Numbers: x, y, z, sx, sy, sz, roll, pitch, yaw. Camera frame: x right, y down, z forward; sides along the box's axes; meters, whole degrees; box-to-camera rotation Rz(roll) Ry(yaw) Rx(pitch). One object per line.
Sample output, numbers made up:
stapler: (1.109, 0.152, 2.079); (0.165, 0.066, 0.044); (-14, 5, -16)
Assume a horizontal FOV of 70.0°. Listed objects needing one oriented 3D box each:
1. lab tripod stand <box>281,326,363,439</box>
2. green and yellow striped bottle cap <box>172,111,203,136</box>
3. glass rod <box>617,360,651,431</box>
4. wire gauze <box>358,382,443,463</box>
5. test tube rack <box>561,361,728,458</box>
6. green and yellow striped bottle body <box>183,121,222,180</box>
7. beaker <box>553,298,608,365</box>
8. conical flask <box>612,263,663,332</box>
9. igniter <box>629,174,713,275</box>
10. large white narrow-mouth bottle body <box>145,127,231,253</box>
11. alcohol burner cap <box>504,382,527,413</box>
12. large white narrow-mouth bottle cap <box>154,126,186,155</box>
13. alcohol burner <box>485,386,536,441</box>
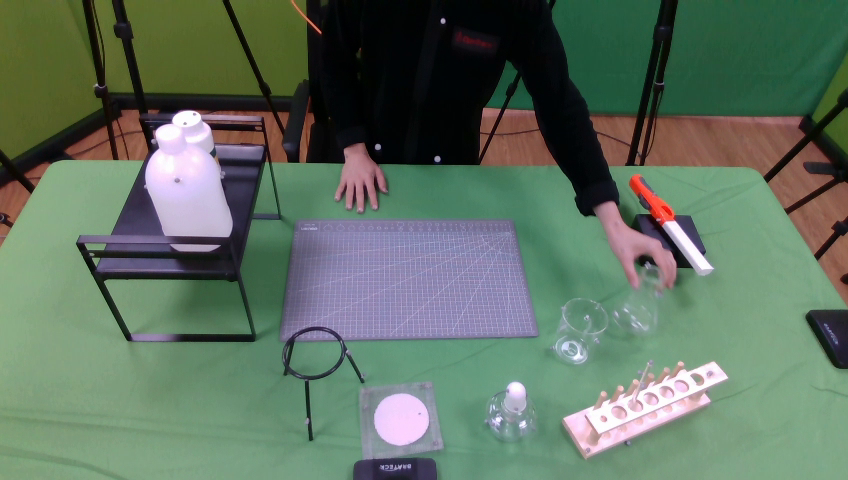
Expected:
lab tripod stand: (-0.166, 0.203, 0.913); (0.148, 0.132, 0.147); (1, 47, -1)
green and yellow striped bottle cap: (-0.374, -0.185, 0.958); (0.045, 0.020, 0.045); (4, 46, -4)
glass rod: (0.297, 0.227, 0.865); (0.008, 0.201, 0.008); (-1, 47, 2)
wire gauze: (-0.039, 0.277, 0.937); (0.121, 0.011, 0.124); (-4, 47, -7)
test tube rack: (0.341, 0.248, 0.940); (0.243, 0.085, 0.066); (-15, 49, -18)
green and yellow striped bottle body: (-0.375, -0.149, 0.995); (0.063, 0.120, 0.063); (2, 46, -2)
beaker: (0.260, 0.154, 1.015); (0.073, 0.101, 0.084); (37, 54, 27)
conical flask: (0.369, 0.093, 1.026); (0.075, 0.122, 0.075); (1, 45, -1)
igniter: (0.481, -0.039, 1.202); (0.057, 0.025, 0.274); (-1, 46, -21)
large white narrow-mouth bottle body: (-0.345, -0.077, 0.877); (0.102, 0.195, 0.101); (2, 48, -2)
alcohol burner cap: (0.133, 0.225, 0.877); (0.034, 0.048, 0.033); (-4, 47, 5)
large white narrow-mouth bottle cap: (-0.340, -0.134, 0.813); (0.038, 0.024, 0.037); (2, 48, -2)
alcohol burner: (0.131, 0.249, 0.904); (0.078, 0.120, 0.077); (1, 48, -1)
